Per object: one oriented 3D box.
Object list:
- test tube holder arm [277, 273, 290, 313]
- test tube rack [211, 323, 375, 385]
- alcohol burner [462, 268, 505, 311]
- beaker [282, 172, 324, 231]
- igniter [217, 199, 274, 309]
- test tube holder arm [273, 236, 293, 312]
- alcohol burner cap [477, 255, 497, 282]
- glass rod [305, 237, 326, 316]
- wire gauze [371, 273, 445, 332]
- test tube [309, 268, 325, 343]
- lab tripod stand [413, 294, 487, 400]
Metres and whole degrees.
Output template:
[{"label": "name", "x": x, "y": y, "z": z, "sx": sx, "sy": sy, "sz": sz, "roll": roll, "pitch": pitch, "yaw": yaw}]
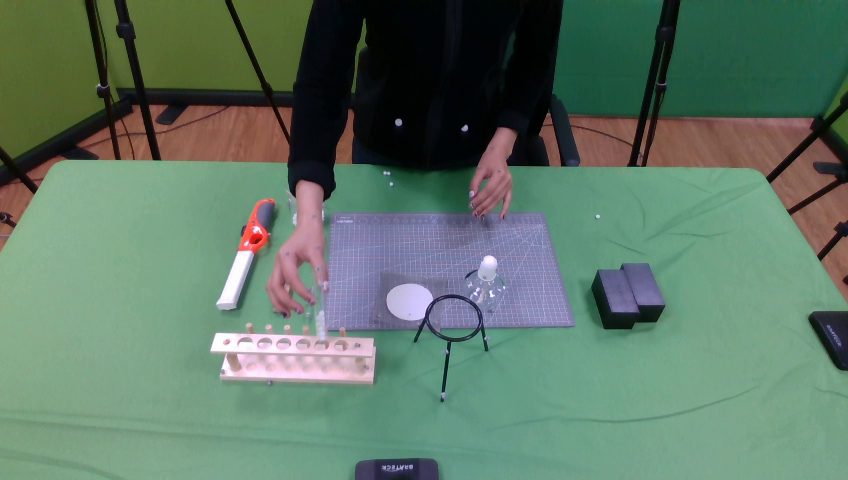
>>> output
[{"label": "test tube holder arm", "x": -0.254, "y": 0.094, "z": 1.094, "sx": 0.010, "sy": 0.015, "sz": 0.087, "roll": 31, "pitch": 38, "yaw": -29}, {"label": "test tube rack", "x": -0.202, "y": 0.177, "z": 0.969, "sx": 0.242, "sy": 0.085, "sz": 0.066, "roll": 3, "pitch": 46, "yaw": -2}, {"label": "alcohol burner", "x": 0.108, "y": 0.071, "z": 1.072, "sx": 0.078, "sy": 0.119, "sz": 0.077, "roll": 4, "pitch": 45, "yaw": -3}, {"label": "beaker", "x": -0.234, "y": -0.073, "z": 1.198, "sx": 0.084, "sy": 0.101, "sz": 0.074, "roll": 24, "pitch": 49, "yaw": 17}, {"label": "igniter", "x": -0.336, "y": 0.018, "z": 1.152, "sx": 0.057, "sy": 0.025, "sz": 0.275, "roll": -2, "pitch": 45, "yaw": 8}, {"label": "test tube holder arm", "x": -0.260, "y": 0.059, "z": 1.122, "sx": 0.013, "sy": 0.015, "sz": 0.177, "roll": 29, "pitch": 38, "yaw": -30}, {"label": "alcohol burner cap", "x": 0.110, "y": 0.047, "z": 1.045, "sx": 0.034, "sy": 0.048, "sz": 0.033, "roll": 2, "pitch": 52, "yaw": -2}, {"label": "glass rod", "x": -0.202, "y": 0.064, "z": 1.131, "sx": 0.008, "sy": 0.008, "sz": 0.198, "roll": 4, "pitch": 44, "yaw": 0}, {"label": "wire gauze", "x": -0.028, "y": 0.109, "z": 1.099, "sx": 0.125, "sy": 0.011, "sz": 0.121, "roll": 7, "pitch": 45, "yaw": 4}, {"label": "test tube", "x": -0.154, "y": 0.098, "z": 0.876, "sx": 0.017, "sy": 0.151, "sz": 0.017, "roll": 3, "pitch": 42, "yaw": -2}, {"label": "lab tripod stand", "x": 0.044, "y": 0.160, "z": 0.972, "sx": 0.148, "sy": 0.132, "sz": 0.147, "roll": 3, "pitch": 44, "yaw": -2}]
